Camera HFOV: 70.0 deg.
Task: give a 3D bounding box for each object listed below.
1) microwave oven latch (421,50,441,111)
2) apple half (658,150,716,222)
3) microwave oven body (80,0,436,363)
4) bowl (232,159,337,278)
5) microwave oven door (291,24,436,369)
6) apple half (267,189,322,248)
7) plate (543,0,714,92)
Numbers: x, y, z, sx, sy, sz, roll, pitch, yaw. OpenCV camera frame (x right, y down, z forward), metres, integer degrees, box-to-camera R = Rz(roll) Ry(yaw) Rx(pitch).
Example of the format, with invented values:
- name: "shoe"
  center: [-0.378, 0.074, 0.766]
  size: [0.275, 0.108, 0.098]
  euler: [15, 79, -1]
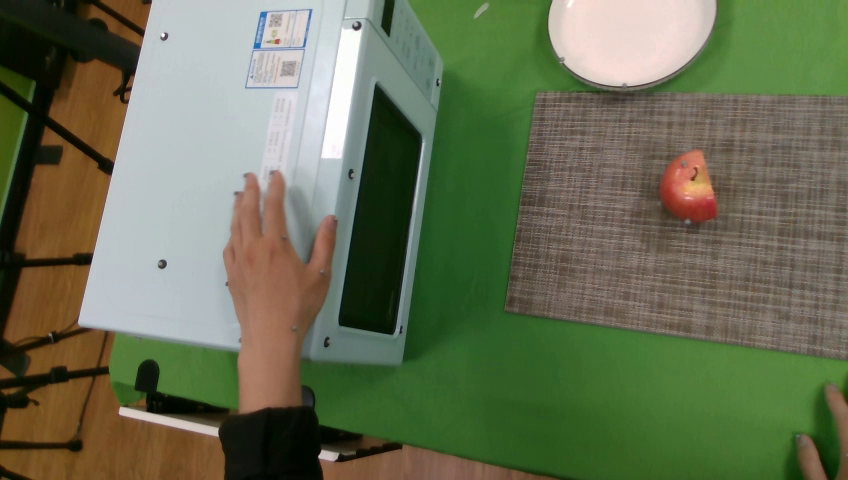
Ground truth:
- name: "microwave oven latch"
  center: [0.006, -0.221, 0.841]
  size: [0.030, 0.030, 0.079]
  euler: [4, 81, 19]
- name: "apple half"
  center: [0.300, -0.057, 0.701]
  size: [0.053, 0.075, 0.080]
  euler: [-15, 77, 20]
- name: "microwave oven body"
  center: [-0.189, -0.079, 0.772]
  size: [0.325, 0.262, 0.440]
  euler: [4, 80, 19]
- name: "bowl"
  center: [-0.168, -0.025, 0.796]
  size: [0.151, 0.077, 0.151]
  euler: [-2, 86, 25]
- name: "microwave oven door"
  center: [-0.059, -0.029, 0.712]
  size: [0.039, 0.245, 0.354]
  euler: [4, 80, 20]
- name: "apple half"
  center: [-0.173, -0.027, 0.786]
  size: [0.081, 0.033, 0.081]
  euler: [1, 93, 16]
- name: "plate"
  center: [0.261, -0.285, 0.787]
  size: [0.207, 0.039, 0.206]
  euler: [-4, 77, 18]
